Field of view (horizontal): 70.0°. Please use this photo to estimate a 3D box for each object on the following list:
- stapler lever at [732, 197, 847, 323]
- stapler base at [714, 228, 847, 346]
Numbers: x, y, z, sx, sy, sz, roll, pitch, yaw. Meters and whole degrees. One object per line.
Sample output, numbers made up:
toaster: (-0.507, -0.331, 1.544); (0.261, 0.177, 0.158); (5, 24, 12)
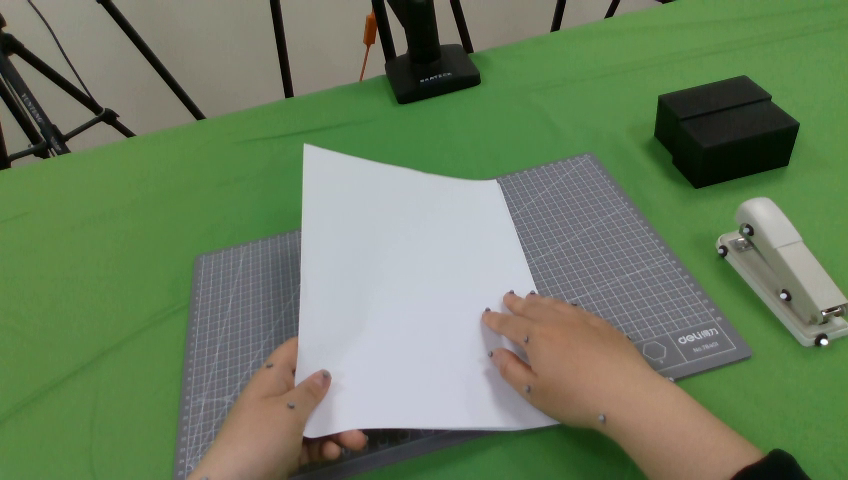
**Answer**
stapler lever: (0.290, 0.011, 0.483); (0.027, 0.040, 0.116); (-17, 44, -3)
stapler base: (0.293, 0.028, 0.502); (0.041, 0.025, 0.129); (-17, 44, -3)
